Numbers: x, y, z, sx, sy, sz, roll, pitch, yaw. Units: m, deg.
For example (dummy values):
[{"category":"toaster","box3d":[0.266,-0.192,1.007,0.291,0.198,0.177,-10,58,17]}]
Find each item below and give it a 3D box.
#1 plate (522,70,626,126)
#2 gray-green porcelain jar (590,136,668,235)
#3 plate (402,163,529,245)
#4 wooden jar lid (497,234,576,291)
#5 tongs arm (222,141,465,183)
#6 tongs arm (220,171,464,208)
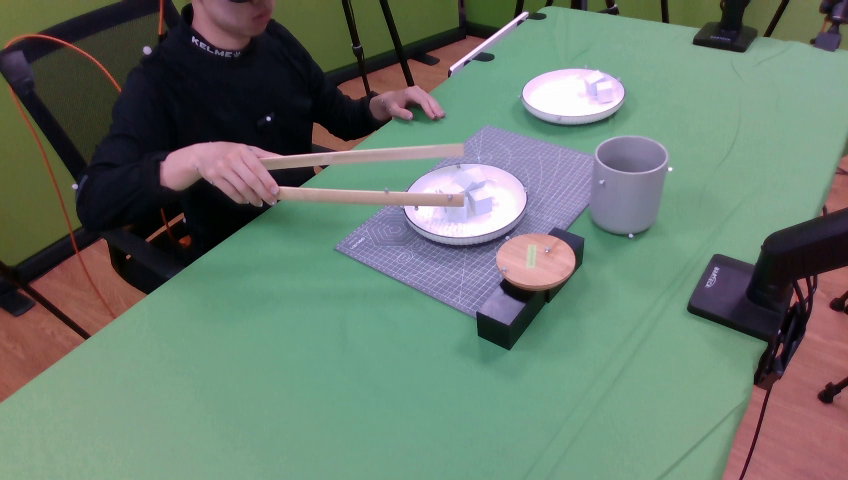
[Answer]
[{"category":"plate","box3d":[0.308,-0.290,1.251,0.207,0.039,0.206,-4,40,4]},{"category":"gray-green porcelain jar","box3d":[0.314,-0.080,0.937,0.106,0.127,0.105,-4,41,4]},{"category":"plate","box3d":[0.069,-0.056,1.008,0.209,0.038,0.208,-4,40,4]},{"category":"wooden jar lid","box3d":[0.155,0.032,0.834,0.108,0.021,0.108,-5,40,5]},{"category":"tongs arm","box3d":[-0.126,-0.129,0.972,0.388,0.028,0.028,-6,52,-1]},{"category":"tongs arm","box3d":[-0.130,-0.078,0.923,0.384,0.026,0.050,1,49,6]}]
